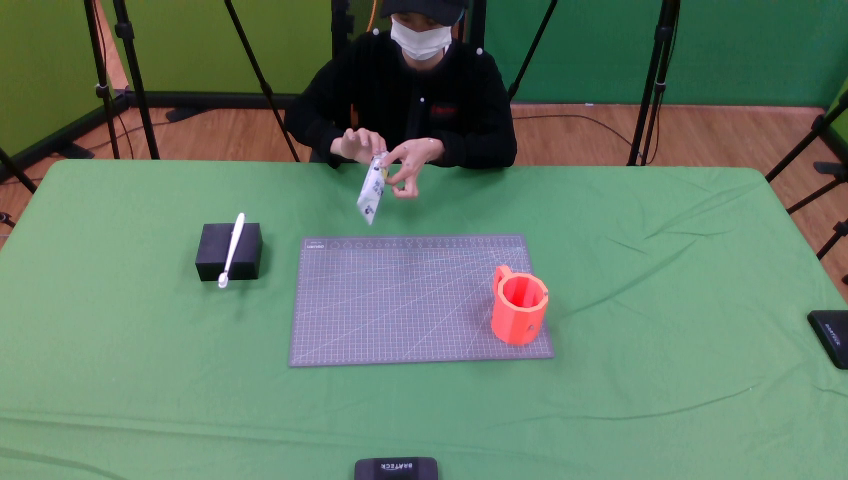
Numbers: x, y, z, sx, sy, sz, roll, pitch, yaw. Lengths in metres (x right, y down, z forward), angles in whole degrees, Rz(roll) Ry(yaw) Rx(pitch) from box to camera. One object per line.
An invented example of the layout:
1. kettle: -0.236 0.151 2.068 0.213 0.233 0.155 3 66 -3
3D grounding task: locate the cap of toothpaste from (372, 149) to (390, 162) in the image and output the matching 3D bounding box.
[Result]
1. cap of toothpaste: -0.083 -0.160 1.178 0.037 0.037 0.011 6 50 1

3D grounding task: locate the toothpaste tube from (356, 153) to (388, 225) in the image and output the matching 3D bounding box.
1. toothpaste tube: -0.096 -0.104 1.124 0.034 0.055 0.164 -15 43 26

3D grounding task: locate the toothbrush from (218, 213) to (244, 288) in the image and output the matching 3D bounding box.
1. toothbrush: -0.347 0.013 1.093 0.014 0.017 0.180 -2 46 1

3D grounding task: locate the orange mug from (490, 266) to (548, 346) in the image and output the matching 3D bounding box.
1. orange mug: 0.155 0.107 1.051 0.083 0.101 0.125 -15 53 -18
